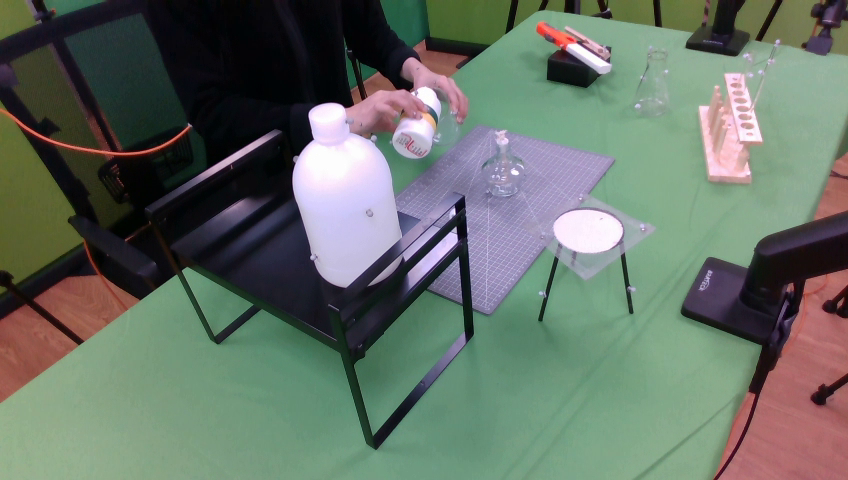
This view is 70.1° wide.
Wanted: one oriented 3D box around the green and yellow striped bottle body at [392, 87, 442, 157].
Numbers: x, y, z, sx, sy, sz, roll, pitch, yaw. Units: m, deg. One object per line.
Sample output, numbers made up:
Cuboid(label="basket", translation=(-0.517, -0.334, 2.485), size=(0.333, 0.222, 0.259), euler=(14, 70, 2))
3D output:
Cuboid(label="green and yellow striped bottle body", translation=(-0.008, -0.195, 0.976), size=(0.063, 0.063, 0.119), euler=(4, 52, 13))

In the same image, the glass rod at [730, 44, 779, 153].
Cuboid(label="glass rod", translation=(0.555, -0.234, 1.020), size=(0.008, 0.200, 0.008), euler=(2, 40, -1))

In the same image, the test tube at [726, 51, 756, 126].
Cuboid(label="test tube", translation=(0.568, -0.268, 1.086), size=(0.017, 0.151, 0.017), euler=(-4, 46, 4))

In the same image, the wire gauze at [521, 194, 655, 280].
Cuboid(label="wire gauze", translation=(0.207, -0.012, 0.772), size=(0.122, 0.011, 0.124), euler=(-28, 44, -20))

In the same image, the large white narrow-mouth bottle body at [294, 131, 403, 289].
Cuboid(label="large white narrow-mouth bottle body", translation=(-0.082, -0.047, 0.634), size=(0.102, 0.195, 0.101), euler=(-4, 39, 4))

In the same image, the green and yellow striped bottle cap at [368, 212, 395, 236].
Cuboid(label="green and yellow striped bottle cap", translation=(-0.071, -0.028, 1.021), size=(0.045, 0.020, 0.045), euler=(-5, 40, 5))

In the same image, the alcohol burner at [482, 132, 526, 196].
Cuboid(label="alcohol burner", translation=(0.137, -0.136, 1.042), size=(0.078, 0.119, 0.077), euler=(-4, 43, 4))

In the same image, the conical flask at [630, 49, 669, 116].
Cuboid(label="conical flask", translation=(0.456, -0.316, 1.205), size=(0.075, 0.122, 0.075), euler=(-4, 41, 4))

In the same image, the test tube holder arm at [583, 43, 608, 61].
Cuboid(label="test tube holder arm", translation=(0.379, -0.420, 1.341), size=(0.010, 0.015, 0.087), euler=(-39, 41, 10))

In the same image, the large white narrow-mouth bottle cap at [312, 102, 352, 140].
Cuboid(label="large white narrow-mouth bottle cap", translation=(-0.089, -0.114, 0.579), size=(0.038, 0.024, 0.037), euler=(-3, 39, 3))

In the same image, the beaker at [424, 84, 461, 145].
Cuboid(label="beaker", translation=(0.022, -0.221, 1.085), size=(0.074, 0.101, 0.083), euler=(-10, 73, 13))

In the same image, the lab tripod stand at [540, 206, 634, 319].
Cuboid(label="lab tripod stand", translation=(0.218, 0.034, 0.821), size=(0.148, 0.132, 0.147), euler=(-4, 42, 4))

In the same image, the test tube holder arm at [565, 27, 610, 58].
Cuboid(label="test tube holder arm", translation=(0.369, -0.450, 1.373), size=(0.013, 0.015, 0.177), euler=(-39, 41, 10))

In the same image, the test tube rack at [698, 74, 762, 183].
Cuboid(label="test tube rack", translation=(0.547, -0.208, 1.095), size=(0.066, 0.085, 0.242), euler=(5, 42, 15))

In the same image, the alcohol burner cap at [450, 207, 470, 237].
Cuboid(label="alcohol burner cap", translation=(0.057, -0.032, 0.987), size=(0.034, 0.048, 0.033), euler=(-5, 41, 4))

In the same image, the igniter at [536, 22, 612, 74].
Cuboid(label="igniter", translation=(0.330, -0.438, 1.366), size=(0.057, 0.025, 0.274), euler=(-11, 41, -19))
